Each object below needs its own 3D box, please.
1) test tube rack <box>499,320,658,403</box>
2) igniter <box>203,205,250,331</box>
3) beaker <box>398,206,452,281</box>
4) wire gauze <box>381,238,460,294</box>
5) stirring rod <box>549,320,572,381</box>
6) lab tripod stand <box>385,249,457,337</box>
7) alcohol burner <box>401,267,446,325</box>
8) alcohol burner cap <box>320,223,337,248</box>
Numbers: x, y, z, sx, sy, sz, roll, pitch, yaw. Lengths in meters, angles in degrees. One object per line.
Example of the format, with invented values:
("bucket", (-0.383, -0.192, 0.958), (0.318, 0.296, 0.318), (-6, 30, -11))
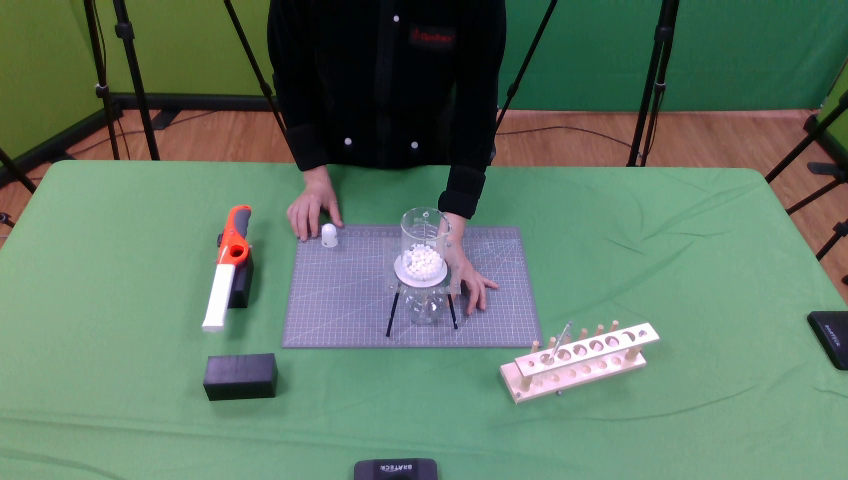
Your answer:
("test tube rack", (0.252, 0.187, 0.994), (0.243, 0.085, 0.066), (-12, 48, -15))
("igniter", (-0.345, 0.039, 1.065), (0.057, 0.025, 0.274), (2, 49, -6))
("beaker", (0.000, 0.009, 0.950), (0.084, 0.101, 0.073), (10, 45, 6))
("wire gauze", (-0.008, 0.042, 0.985), (0.125, 0.011, 0.120), (-1, 43, -2))
("stirring rod", (0.201, 0.168, 0.901), (0.006, 0.177, 0.014), (-16, 54, -10))
("lab tripod stand", (-0.010, 0.087, 1.032), (0.148, 0.132, 0.147), (1, 45, -1))
("alcohol burner", (0.000, 0.091, 1.043), (0.078, 0.120, 0.077), (1, 46, 0))
("alcohol burner cap", (-0.187, -0.010, 1.176), (0.034, 0.048, 0.033), (1, 46, -1))
